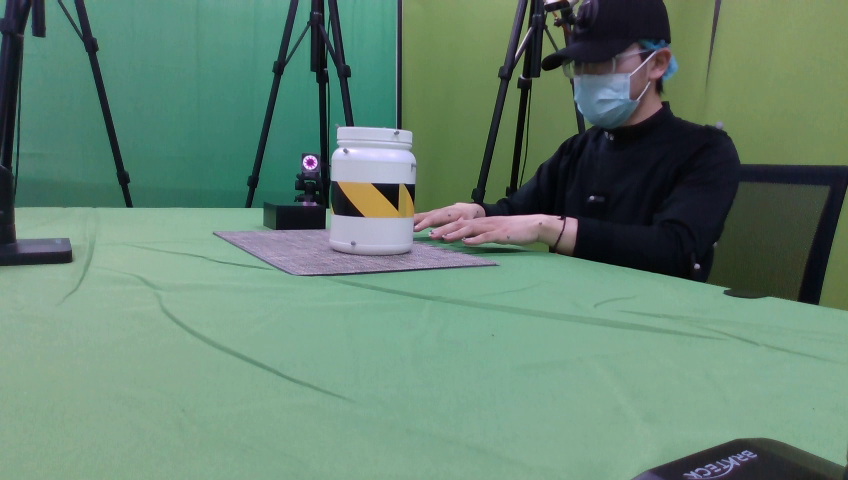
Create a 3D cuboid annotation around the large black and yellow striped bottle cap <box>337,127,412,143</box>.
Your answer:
[{"bbox_3d":[-0.075,-0.160,0.920,0.115,0.019,0.115,3,8,0],"label":"large black and yellow striped bottle cap"}]

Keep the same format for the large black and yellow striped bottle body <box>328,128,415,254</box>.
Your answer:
[{"bbox_3d":[-0.080,-0.077,0.929,0.131,0.184,0.130,3,7,0],"label":"large black and yellow striped bottle body"}]
